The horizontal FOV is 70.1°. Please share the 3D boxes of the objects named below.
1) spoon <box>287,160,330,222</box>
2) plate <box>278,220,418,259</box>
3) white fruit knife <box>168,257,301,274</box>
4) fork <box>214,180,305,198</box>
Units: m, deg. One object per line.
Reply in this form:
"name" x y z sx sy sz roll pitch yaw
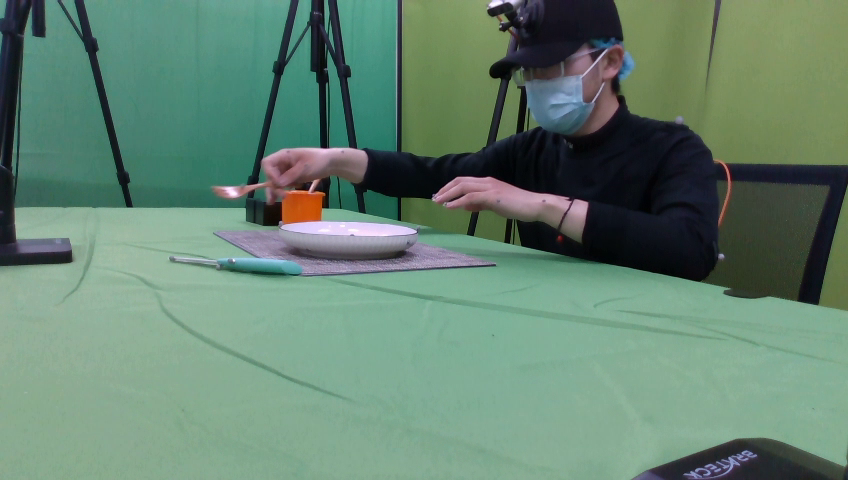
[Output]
"spoon" -0.233 -0.101 1.252 0.041 0.193 0.022 1 -38 25
"plate" -0.114 -0.002 0.914 0.209 0.038 0.209 2 7 0
"white fruit knife" -0.243 0.029 0.749 0.206 0.016 0.027 2 -17 26
"fork" -0.277 -0.093 1.045 0.028 0.018 0.208 41 29 18
